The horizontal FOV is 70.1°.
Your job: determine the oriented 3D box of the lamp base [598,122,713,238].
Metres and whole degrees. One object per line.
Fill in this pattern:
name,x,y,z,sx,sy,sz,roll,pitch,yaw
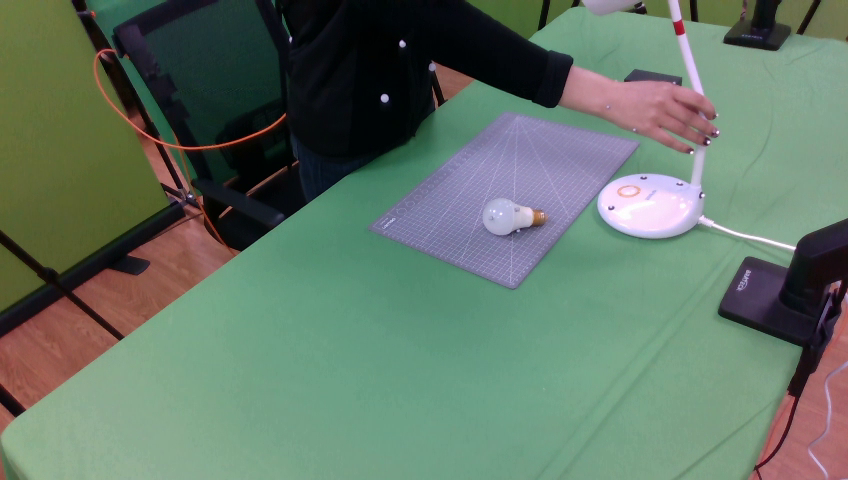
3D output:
lamp base,0.366,-0.113,0.924,0.178,0.181,0.161,20,48,26

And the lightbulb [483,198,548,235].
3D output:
lightbulb,0.148,-0.037,0.973,0.108,0.059,0.059,1,39,-12

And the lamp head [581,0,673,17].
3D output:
lamp head,0.261,-0.338,0.738,0.122,0.113,0.112,9,42,42
